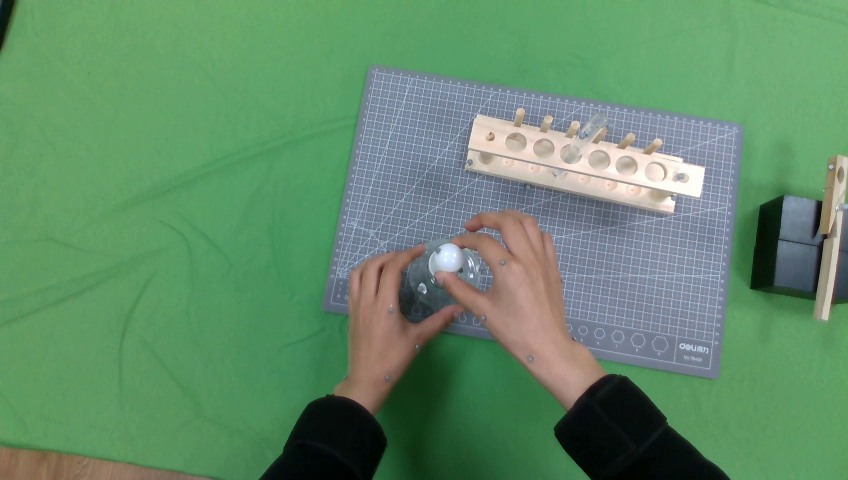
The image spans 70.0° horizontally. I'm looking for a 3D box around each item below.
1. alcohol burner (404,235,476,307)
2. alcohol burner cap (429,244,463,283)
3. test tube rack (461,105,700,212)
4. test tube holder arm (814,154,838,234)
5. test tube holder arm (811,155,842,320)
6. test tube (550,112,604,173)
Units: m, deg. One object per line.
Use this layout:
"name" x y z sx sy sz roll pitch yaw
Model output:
"alcohol burner" 0.018 0.030 0.635 0.078 0.119 0.077 0 81 -1
"alcohol burner cap" 0.019 0.020 0.568 0.034 0.048 0.033 -2 75 6
"test tube rack" 0.168 -0.097 0.668 0.242 0.085 0.066 13 82 2
"test tube holder arm" 0.431 -0.049 0.650 0.010 0.015 0.087 11 82 -5
"test tube holder arm" 0.429 -0.004 0.645 0.013 0.015 0.178 10 83 -6
"test tube" 0.152 -0.096 0.617 0.017 0.150 0.017 0 79 -2
